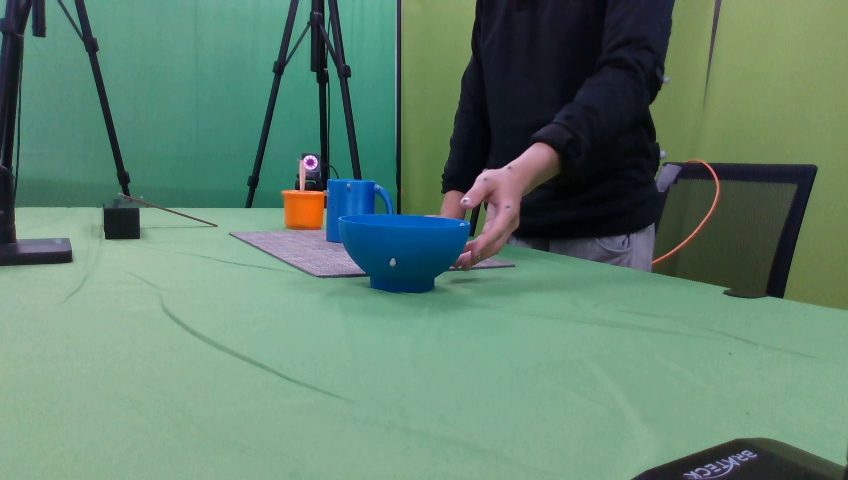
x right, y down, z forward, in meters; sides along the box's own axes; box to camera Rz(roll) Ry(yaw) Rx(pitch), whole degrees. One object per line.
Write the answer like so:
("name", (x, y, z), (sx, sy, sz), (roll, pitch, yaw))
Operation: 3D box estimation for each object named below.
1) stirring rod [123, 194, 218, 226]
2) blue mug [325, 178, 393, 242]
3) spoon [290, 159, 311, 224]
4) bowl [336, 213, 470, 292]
("stirring rod", (-0.480, -0.056, 1.153), (0.177, 0.006, 0.014), (20, -5, -29))
("blue mug", (-0.111, -0.052, 1.034), (0.116, 0.106, 0.082), (3, 7, 7))
("spoon", (-0.256, -0.104, 1.265), (0.042, 0.193, 0.021), (1, -37, -9))
("bowl", (-0.025, 0.013, 0.685), (0.151, 0.077, 0.151), (2, 7, 0))
